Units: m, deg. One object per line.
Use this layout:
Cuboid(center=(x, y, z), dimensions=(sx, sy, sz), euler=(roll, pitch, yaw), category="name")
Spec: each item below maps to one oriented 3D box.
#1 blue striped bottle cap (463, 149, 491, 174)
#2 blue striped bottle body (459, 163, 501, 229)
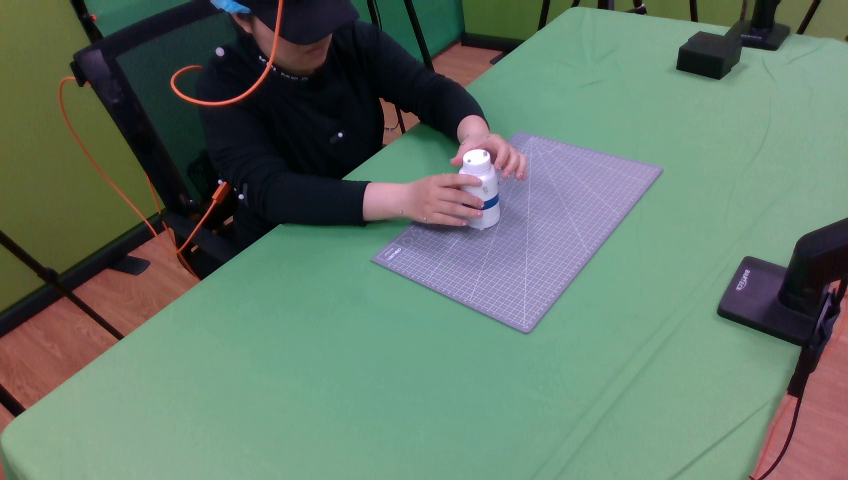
Cuboid(center=(0.083, -0.124, 0.948), dimensions=(0.044, 0.021, 0.044), euler=(-4, 41, 4), category="blue striped bottle cap")
Cuboid(center=(0.091, -0.083, 0.982), dimensions=(0.063, 0.121, 0.063), euler=(-5, 40, 5), category="blue striped bottle body")
